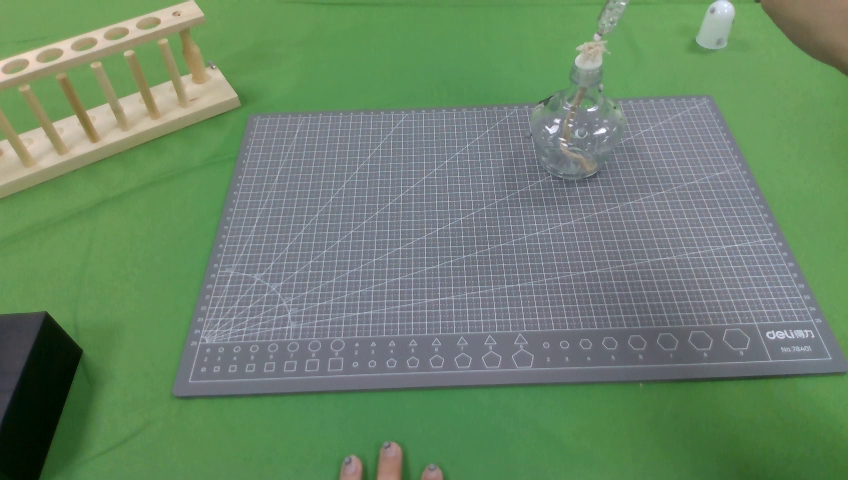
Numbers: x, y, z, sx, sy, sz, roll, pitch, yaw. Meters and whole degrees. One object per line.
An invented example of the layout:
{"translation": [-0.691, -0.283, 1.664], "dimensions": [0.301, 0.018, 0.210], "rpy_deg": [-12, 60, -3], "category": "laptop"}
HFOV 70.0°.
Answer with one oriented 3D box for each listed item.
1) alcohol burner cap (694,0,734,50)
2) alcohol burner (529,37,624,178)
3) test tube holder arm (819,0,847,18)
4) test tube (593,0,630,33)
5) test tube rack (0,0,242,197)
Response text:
{"translation": [0.307, -0.228, 0.635], "dimensions": [0.034, 0.048, 0.033], "rpy_deg": [-2, 51, 3], "category": "alcohol burner cap"}
{"translation": [0.126, -0.110, 0.494], "dimensions": [0.078, 0.120, 0.077], "rpy_deg": [-1, 48, 2], "category": "alcohol burner"}
{"translation": [0.206, -0.167, 0.359], "dimensions": [0.177, 0.015, 0.013], "rpy_deg": [39, 55, 14], "category": "test tube holder arm"}
{"translation": [0.148, -0.197, 0.384], "dimensions": [0.017, 0.151, 0.017], "rpy_deg": [10, 51, -12], "category": "test tube"}
{"translation": [-0.304, -0.131, 0.556], "dimensions": [0.242, 0.086, 0.066], "rpy_deg": [-27, 54, -18], "category": "test tube rack"}
